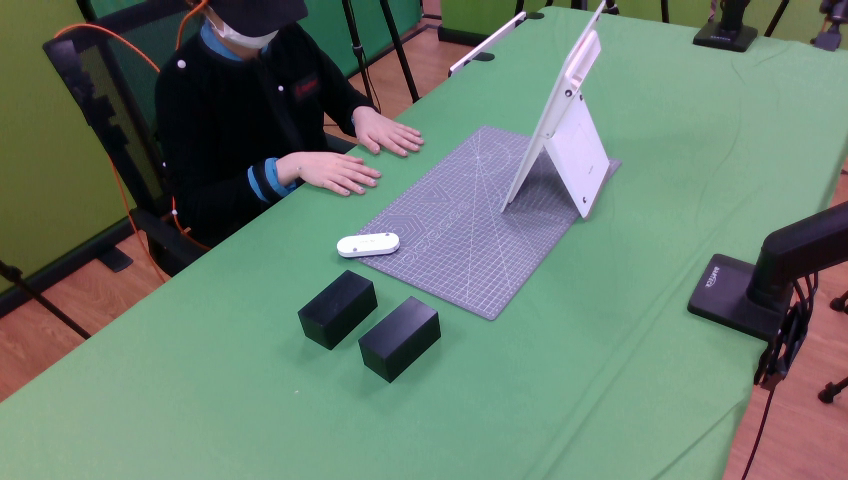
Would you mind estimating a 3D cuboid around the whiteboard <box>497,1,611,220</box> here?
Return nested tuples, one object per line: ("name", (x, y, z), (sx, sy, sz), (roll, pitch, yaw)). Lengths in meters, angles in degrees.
("whiteboard", (0.259, -0.177, 0.963), (0.143, 0.306, 0.217), (28, 48, 9))

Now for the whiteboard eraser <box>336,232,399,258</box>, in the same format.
("whiteboard eraser", (-0.091, 0.008, 0.970), (0.101, 0.019, 0.041), (-4, 40, 2))
